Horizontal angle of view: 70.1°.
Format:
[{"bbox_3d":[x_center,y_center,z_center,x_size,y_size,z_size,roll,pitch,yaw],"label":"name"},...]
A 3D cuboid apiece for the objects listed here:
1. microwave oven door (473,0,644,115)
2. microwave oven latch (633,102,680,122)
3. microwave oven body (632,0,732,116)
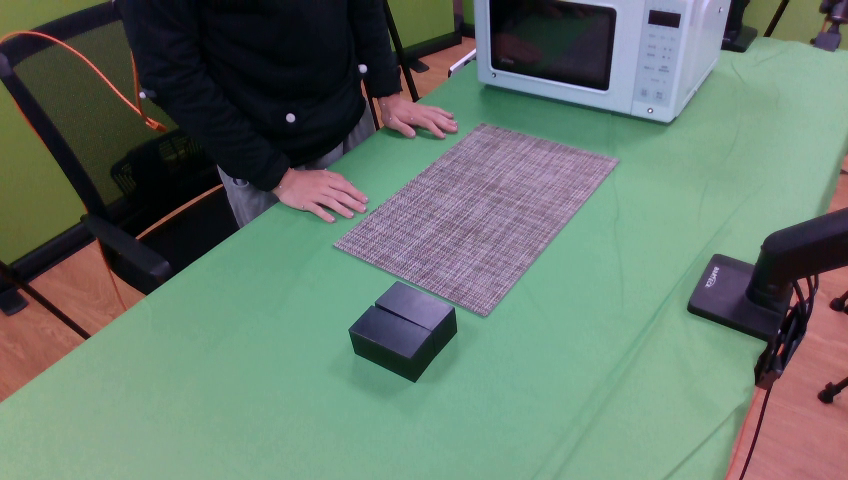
[{"bbox_3d":[0.257,-0.396,1.199,0.353,0.245,0.039,21,48,29],"label":"microwave oven door"},{"bbox_3d":[0.444,-0.249,1.157,0.078,0.029,0.030,21,49,30],"label":"microwave oven latch"},{"bbox_3d":[0.377,-0.462,1.267,0.438,0.261,0.327,21,48,30],"label":"microwave oven body"}]
